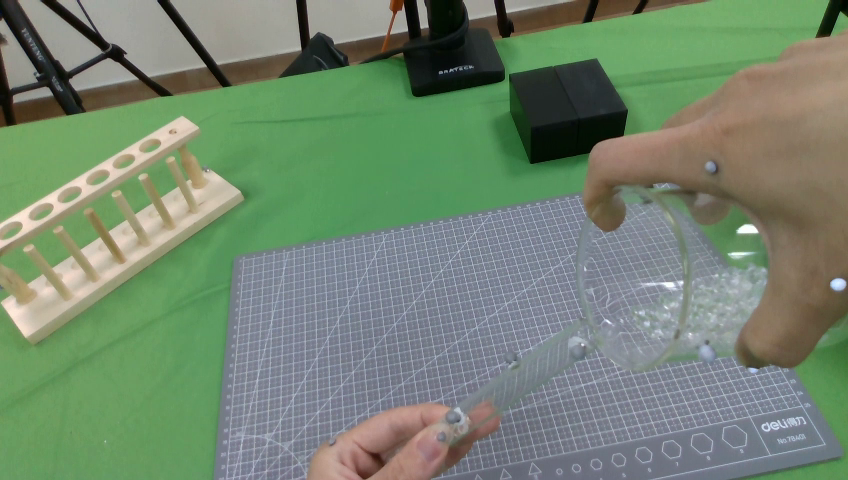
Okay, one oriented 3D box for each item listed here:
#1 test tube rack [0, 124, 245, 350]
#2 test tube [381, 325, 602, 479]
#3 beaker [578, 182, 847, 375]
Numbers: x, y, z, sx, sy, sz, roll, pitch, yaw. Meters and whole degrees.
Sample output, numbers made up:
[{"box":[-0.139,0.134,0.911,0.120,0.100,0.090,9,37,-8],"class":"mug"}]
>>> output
[{"box":[-0.308,-0.010,0.602,0.066,0.086,0.242,32,59,32],"class":"test tube rack"},{"box":[0.027,0.087,0.306,0.150,0.017,0.017,-42,39,29],"class":"test tube"},{"box":[0.126,0.017,0.256,0.100,0.084,0.073,-2,49,-15],"class":"beaker"}]
